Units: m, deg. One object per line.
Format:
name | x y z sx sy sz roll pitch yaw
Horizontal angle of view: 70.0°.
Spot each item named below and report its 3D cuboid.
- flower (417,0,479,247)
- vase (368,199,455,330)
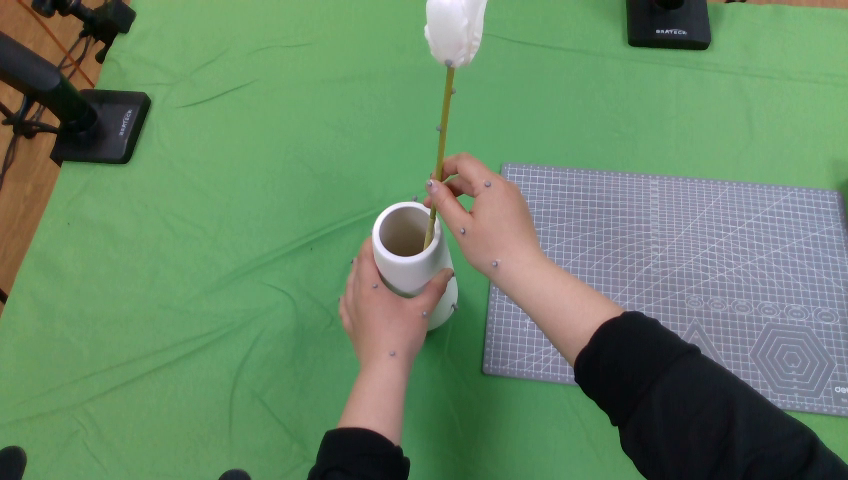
flower | 0.005 -0.050 0.540 0.044 0.365 0.038 -23 53 -25
vase | -0.013 0.031 0.677 0.098 0.201 0.097 0 65 1
